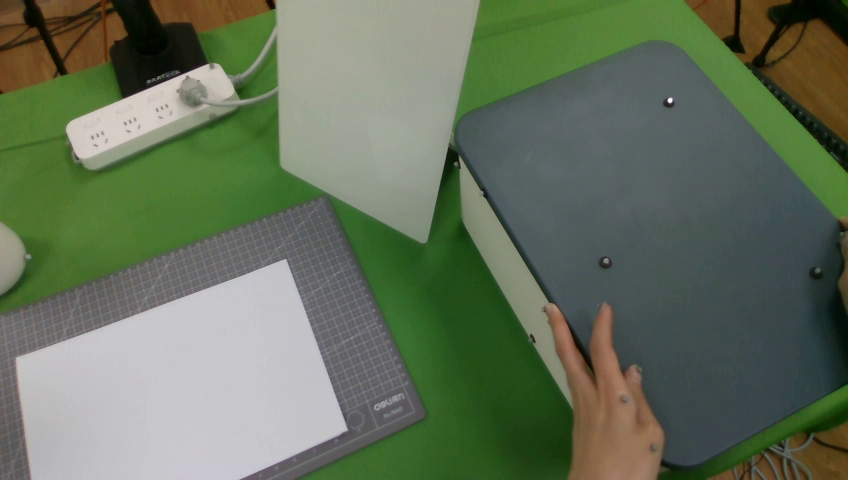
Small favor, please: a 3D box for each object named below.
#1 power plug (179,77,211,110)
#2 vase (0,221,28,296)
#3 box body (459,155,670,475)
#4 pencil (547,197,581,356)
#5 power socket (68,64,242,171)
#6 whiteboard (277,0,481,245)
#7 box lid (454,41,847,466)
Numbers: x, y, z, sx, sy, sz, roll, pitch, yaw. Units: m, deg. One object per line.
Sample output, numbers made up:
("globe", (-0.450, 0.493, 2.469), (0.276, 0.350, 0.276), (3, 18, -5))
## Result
("power plug", (-0.287, -0.173, 0.765), (0.035, 0.053, 0.072), (-18, 64, -9))
("vase", (-0.500, -0.011, 0.611), (0.098, 0.201, 0.097), (-1, 61, 2))
("box body", (0.217, 0.018, 0.610), (0.254, 0.161, 0.360), (-23, 64, -12))
("pencil", (0.158, 0.036, 0.681), (0.012, 0.012, 0.192), (-4, 64, -1))
("power socket", (-0.345, -0.161, 0.785), (0.227, 0.033, 0.071), (-27, 65, -14))
("whiteboard", (-0.033, -0.184, 0.675), (0.216, 0.308, 0.143), (29, 47, 16))
("box lid", (0.213, -0.022, 0.539), (0.263, 0.015, 0.368), (-23, 64, -11))
